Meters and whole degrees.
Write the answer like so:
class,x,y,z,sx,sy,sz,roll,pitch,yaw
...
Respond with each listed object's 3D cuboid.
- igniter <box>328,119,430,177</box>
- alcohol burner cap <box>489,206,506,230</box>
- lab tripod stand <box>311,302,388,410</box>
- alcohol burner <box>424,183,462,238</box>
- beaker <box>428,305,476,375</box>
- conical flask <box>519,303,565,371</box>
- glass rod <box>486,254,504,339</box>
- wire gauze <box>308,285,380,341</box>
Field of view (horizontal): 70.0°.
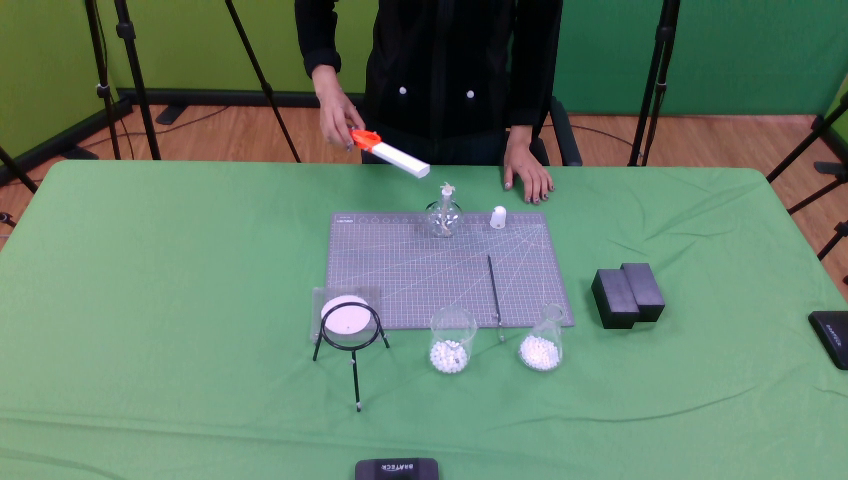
class,x,y,z,sx,sy,sz,roll,pitch,yaw
igniter,-0.096,-0.184,1.176,0.275,0.025,0.057,31,48,34
alcohol burner cap,0.152,-0.047,1.241,0.034,0.048,0.033,2,45,-2
lab tripod stand,-0.113,0.168,0.951,0.148,0.132,0.147,2,44,-2
alcohol burner,0.039,-0.063,1.197,0.078,0.119,0.077,2,44,-2
beaker,0.044,0.168,0.987,0.074,0.101,0.083,1,47,-3
conical flask,0.201,0.155,0.997,0.075,0.122,0.075,2,46,-2
glass rod,0.129,0.099,1.119,0.008,0.008,0.198,-1,47,-4
wire gauze,-0.141,0.128,1.071,0.125,0.011,0.120,-1,46,-5
